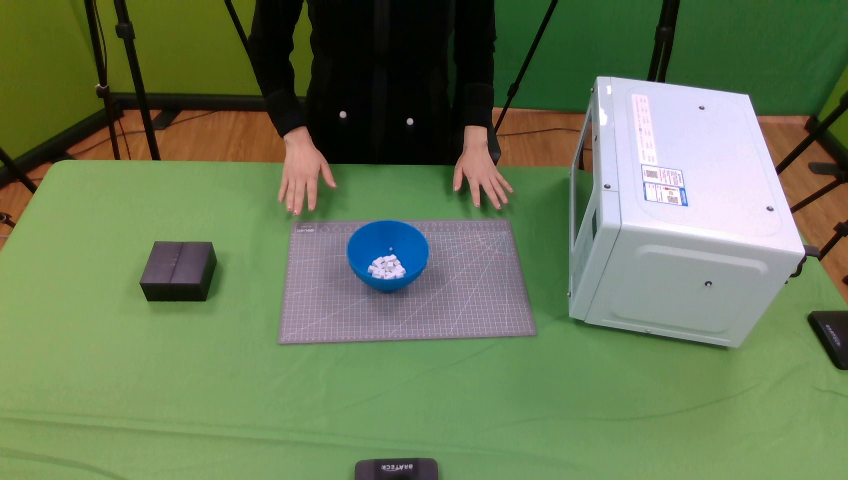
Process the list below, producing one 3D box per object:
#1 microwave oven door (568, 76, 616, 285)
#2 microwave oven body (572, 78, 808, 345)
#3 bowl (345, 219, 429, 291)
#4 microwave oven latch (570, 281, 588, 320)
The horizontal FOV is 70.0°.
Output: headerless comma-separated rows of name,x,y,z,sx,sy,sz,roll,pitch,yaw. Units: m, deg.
microwave oven door,0.319,-0.119,1.161,0.039,0.245,0.354,9,46,5
microwave oven body,0.455,-0.063,1.124,0.326,0.261,0.439,8,45,5
bowl,-0.068,0.041,1.111,0.151,0.077,0.150,2,46,-2
microwave oven latch,0.275,0.105,1.082,0.030,0.029,0.079,9,45,6
